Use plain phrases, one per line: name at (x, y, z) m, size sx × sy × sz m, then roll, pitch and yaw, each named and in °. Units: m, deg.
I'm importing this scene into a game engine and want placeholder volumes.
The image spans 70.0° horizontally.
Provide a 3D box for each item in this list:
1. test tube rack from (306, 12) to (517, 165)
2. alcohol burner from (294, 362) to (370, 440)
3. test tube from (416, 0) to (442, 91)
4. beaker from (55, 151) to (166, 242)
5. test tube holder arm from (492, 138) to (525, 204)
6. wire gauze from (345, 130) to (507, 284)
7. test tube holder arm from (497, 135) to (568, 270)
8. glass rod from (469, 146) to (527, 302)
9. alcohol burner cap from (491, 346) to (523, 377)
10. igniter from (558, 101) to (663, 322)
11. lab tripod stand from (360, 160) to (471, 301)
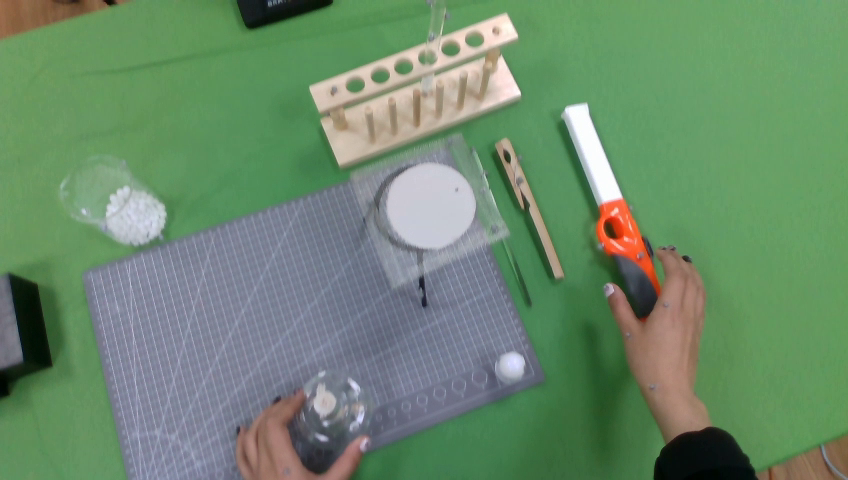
test tube rack at (-0.008, -0.177, 0.717) m, size 0.242 × 0.085 × 0.066 m, roll -22°, pitch 75°, yaw -6°
alcohol burner at (-0.095, 0.159, 0.602) m, size 0.078 × 0.120 × 0.077 m, roll 0°, pitch 72°, yaw 2°
test tube at (0.004, -0.212, 0.676) m, size 0.017 × 0.151 × 0.017 m, roll 2°, pitch 71°, yaw -5°
beaker at (-0.341, -0.043, 0.670) m, size 0.084 × 0.101 × 0.073 m, roll -2°, pitch 73°, yaw 0°
test tube holder arm at (0.104, -0.083, 0.727) m, size 0.010 × 0.015 × 0.087 m, roll -31°, pitch 73°, yaw 30°
wire gauze at (0.001, -0.036, 0.578) m, size 0.121 × 0.011 × 0.124 m, roll -22°, pitch 74°, yaw -5°
test tube holder arm at (0.126, -0.046, 0.712) m, size 0.013 × 0.015 × 0.177 m, roll -33°, pitch 71°, yaw 29°
glass rod at (0.087, -0.022, 0.713) m, size 0.008 × 0.008 × 0.198 m, roll -17°, pitch 78°, yaw -5°
alcohol burner cap at (0.091, 0.128, 0.649) m, size 0.034 × 0.048 × 0.033 m, roll 0°, pitch 73°, yaw 0°
igniter at (0.217, -0.039, 0.708) m, size 0.057 × 0.025 × 0.275 m, roll -12°, pitch 74°, yaw -14°
lab tripod stand at (-0.011, -0.018, 0.643) m, size 0.148 × 0.132 × 0.147 m, roll 0°, pitch 75°, yaw 2°
